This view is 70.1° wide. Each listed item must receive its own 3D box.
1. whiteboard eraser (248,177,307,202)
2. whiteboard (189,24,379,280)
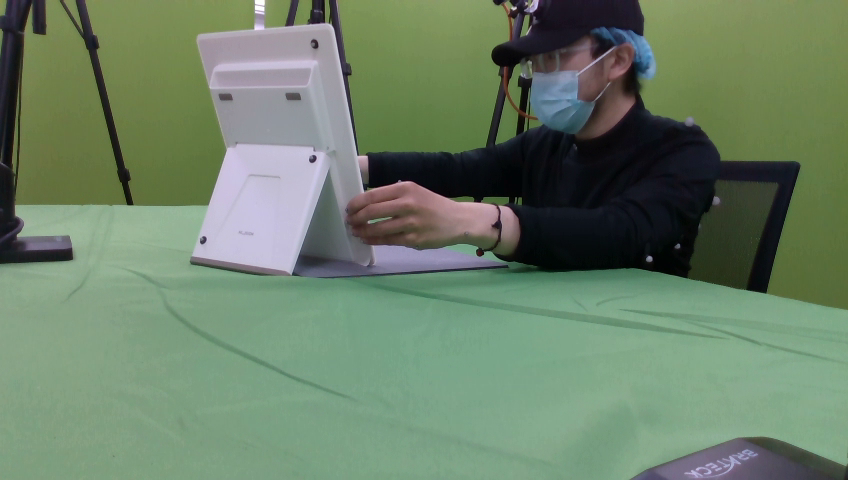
[{"bbox_3d":[-0.307,-0.105,1.268,0.113,0.042,0.055,-9,30,-38],"label":"whiteboard eraser"},{"bbox_3d":[-0.207,-0.085,0.729,0.216,0.305,0.144,7,30,30],"label":"whiteboard"}]
